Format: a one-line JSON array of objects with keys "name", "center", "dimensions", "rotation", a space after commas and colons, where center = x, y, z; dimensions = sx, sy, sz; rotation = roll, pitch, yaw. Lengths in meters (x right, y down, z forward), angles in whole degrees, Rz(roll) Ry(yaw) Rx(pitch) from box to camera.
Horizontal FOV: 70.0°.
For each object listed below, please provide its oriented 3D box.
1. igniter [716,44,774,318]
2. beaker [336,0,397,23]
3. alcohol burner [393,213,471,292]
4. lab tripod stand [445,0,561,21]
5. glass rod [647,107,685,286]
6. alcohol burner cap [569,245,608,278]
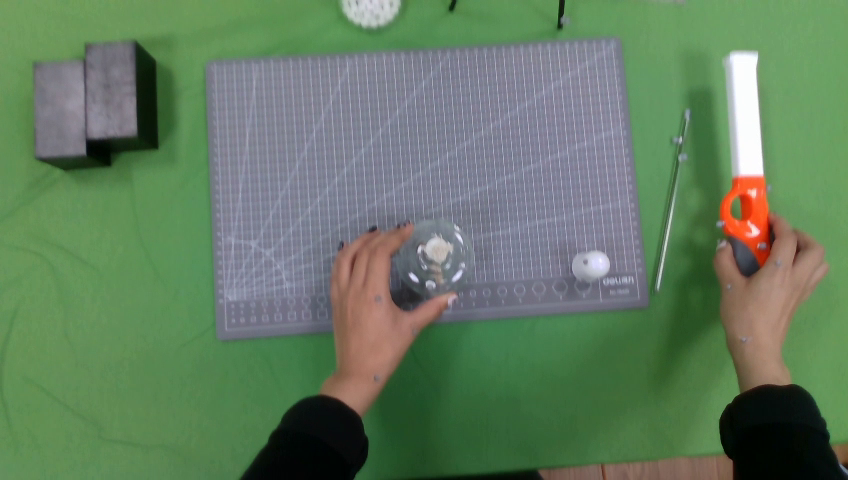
[{"name": "igniter", "center": [0.323, -0.060, 0.613], "dimensions": [0.057, 0.025, 0.276], "rotation": [-1, 88, -7]}, {"name": "beaker", "center": [-0.059, -0.272, 0.615], "dimensions": [0.084, 0.100, 0.074], "rotation": [41, 85, 2]}, {"name": "alcohol burner", "center": [0.009, 0.010, 0.581], "dimensions": [0.078, 0.119, 0.077], "rotation": [0, 82, -2]}, {"name": "lab tripod stand", "center": [0.090, -0.298, 0.604], "dimensions": [0.148, 0.132, 0.148], "rotation": [0, 83, 0]}, {"name": "glass rod", "center": [0.260, -0.048, 0.650], "dimensions": [0.008, 0.008, 0.199], "rotation": [13, 84, -1]}, {"name": "alcohol burner cap", "center": [0.171, 0.021, 0.621], "dimensions": [0.034, 0.048, 0.034], "rotation": [0, 83, -1]}]
